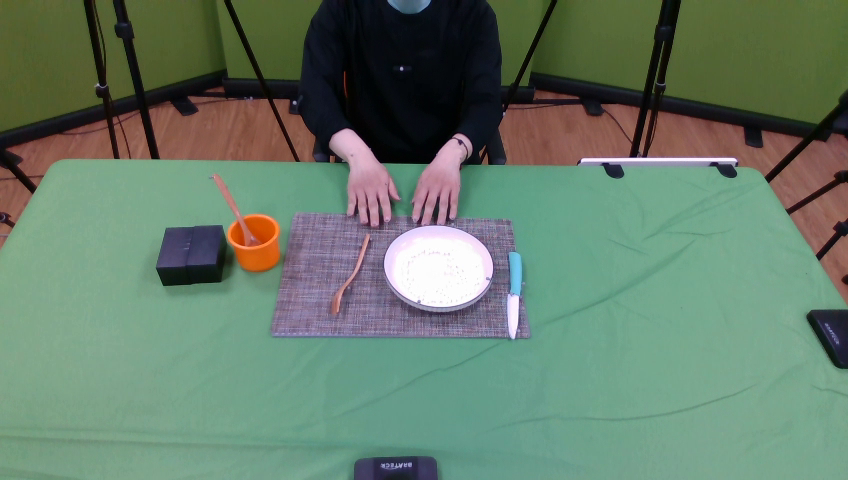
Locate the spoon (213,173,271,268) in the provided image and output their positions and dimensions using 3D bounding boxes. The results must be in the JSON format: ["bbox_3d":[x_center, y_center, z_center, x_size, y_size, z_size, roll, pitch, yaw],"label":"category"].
[{"bbox_3d":[-0.338,-0.036,1.119,0.041,0.194,0.021,-28,10,-24],"label":"spoon"}]

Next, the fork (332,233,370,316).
[{"bbox_3d":[-0.133,0.058,1.126,0.019,0.028,0.206,35,44,-12],"label":"fork"}]

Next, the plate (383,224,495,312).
[{"bbox_3d":[0.026,0.055,1.128,0.209,0.038,0.208,2,46,-2],"label":"plate"}]

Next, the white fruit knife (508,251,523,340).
[{"bbox_3d":[0.169,0.098,1.113,0.027,0.016,0.206,-13,43,23],"label":"white fruit knife"}]
